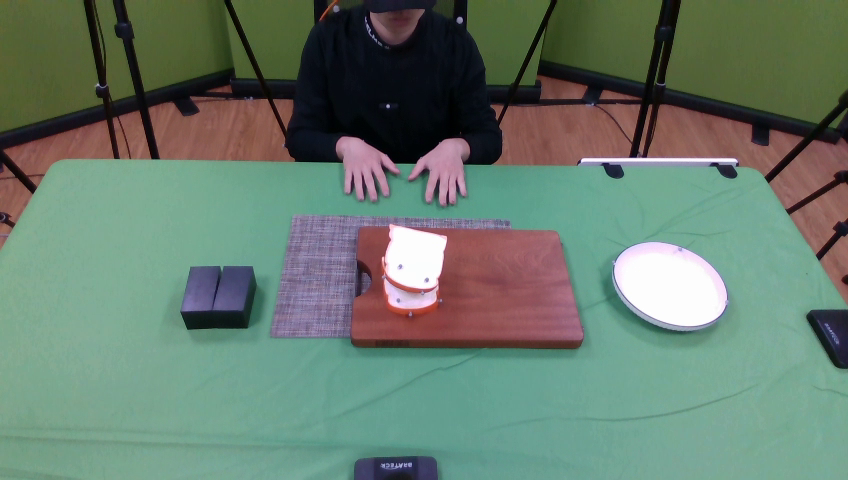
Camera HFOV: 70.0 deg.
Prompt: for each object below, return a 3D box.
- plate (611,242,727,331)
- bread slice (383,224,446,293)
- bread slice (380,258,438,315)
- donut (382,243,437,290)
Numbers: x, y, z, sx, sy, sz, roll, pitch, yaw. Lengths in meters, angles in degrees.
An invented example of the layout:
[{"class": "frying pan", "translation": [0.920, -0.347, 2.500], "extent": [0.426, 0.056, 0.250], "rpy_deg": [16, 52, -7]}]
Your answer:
[{"class": "plate", "translation": [0.455, 0.090, 1.138], "extent": [0.209, 0.038, 0.208], "rpy_deg": [3, 45, -2]}, {"class": "bread slice", "translation": [-0.017, 0.034, 1.050], "extent": [0.107, 0.018, 0.133], "rpy_deg": [11, 48, -7]}, {"class": "bread slice", "translation": [-0.024, 0.079, 1.087], "extent": [0.105, 0.019, 0.130], "rpy_deg": [-2, 45, -5]}, {"class": "donut", "translation": [-0.026, 0.046, 1.077], "extent": [0.099, 0.048, 0.098], "rpy_deg": [4, 45, -3]}]
